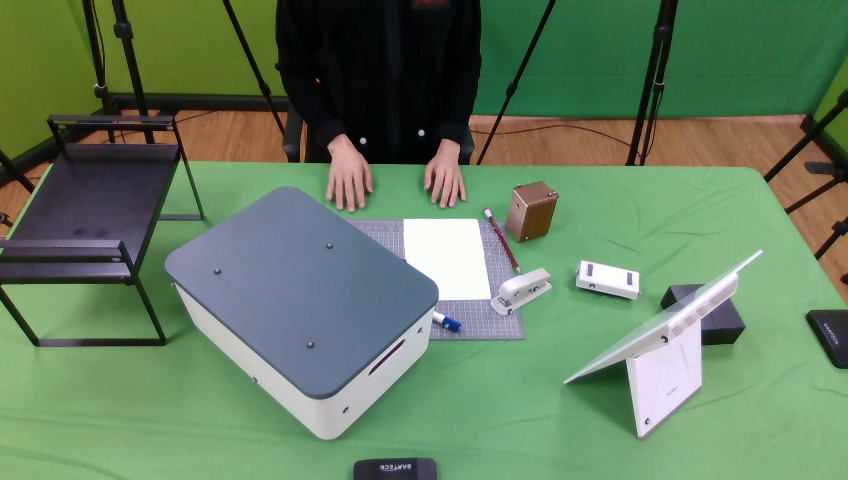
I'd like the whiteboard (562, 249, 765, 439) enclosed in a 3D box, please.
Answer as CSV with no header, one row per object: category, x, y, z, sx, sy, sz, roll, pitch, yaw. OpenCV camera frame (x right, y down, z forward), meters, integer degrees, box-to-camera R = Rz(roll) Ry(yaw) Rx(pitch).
whiteboard,0.386,0.176,0.905,0.217,0.306,0.143,-26,72,-26

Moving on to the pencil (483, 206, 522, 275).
pencil,0.158,-0.002,1.218,0.012,0.012,0.192,-11,48,-14

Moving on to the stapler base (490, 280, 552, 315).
stapler base,0.181,0.094,1.118,0.130,0.024,0.041,-24,57,-29

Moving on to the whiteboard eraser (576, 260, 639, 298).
whiteboard eraser,0.345,0.075,1.138,0.112,0.042,0.055,11,44,8

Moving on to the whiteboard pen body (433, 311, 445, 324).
whiteboard pen body,-0.004,0.123,1.074,0.140,0.017,0.017,24,49,15

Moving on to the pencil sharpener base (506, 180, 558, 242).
pencil sharpener base,0.216,-0.058,1.211,0.077,0.107,0.061,-16,49,-19

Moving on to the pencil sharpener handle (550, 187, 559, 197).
pencil sharpener handle,0.261,-0.084,1.221,0.031,0.068,0.036,-16,66,-19

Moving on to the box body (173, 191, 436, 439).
box body,-0.191,0.110,0.979,0.362,0.161,0.254,33,53,24

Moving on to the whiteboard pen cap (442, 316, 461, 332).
whiteboard pen cap,0.048,0.146,1.059,0.033,0.018,0.018,24,49,16

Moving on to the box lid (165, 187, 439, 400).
box lid,-0.186,0.060,0.925,0.370,0.015,0.263,32,53,25

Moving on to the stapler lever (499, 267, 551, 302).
stapler lever,0.185,0.076,1.101,0.118,0.040,0.026,-25,57,-29
